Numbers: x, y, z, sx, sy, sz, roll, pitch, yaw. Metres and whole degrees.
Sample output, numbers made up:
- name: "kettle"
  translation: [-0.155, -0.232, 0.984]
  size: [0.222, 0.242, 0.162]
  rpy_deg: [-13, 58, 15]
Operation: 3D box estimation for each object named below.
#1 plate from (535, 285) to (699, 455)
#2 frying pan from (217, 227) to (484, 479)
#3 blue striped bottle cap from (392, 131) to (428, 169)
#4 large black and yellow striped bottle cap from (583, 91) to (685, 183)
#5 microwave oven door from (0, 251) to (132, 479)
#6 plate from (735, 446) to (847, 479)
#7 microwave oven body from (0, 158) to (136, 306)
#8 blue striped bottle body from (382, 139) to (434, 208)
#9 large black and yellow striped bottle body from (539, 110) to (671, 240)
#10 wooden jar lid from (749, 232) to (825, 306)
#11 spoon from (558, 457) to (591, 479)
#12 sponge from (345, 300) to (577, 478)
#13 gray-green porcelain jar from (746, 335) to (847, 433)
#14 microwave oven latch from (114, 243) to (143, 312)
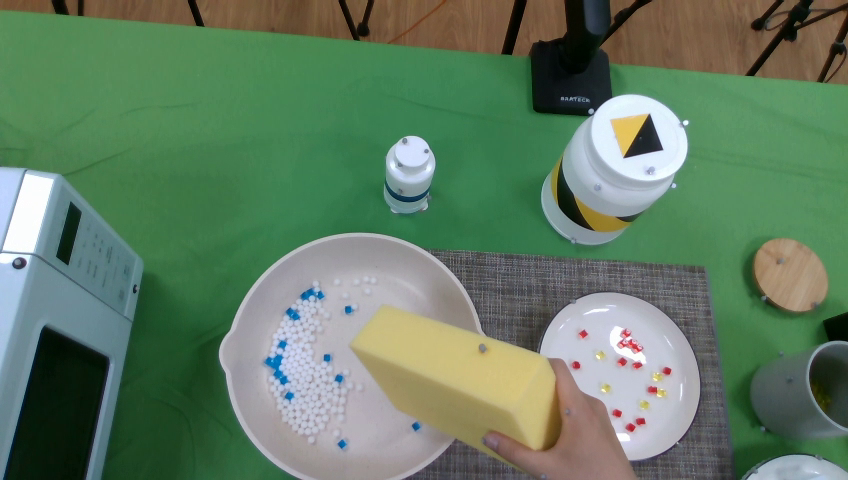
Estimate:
- name: "plate"
  translation: [0.238, 0.161, 0.762]
  size: [0.209, 0.038, 0.207]
  rpy_deg: [2, 70, -5]
- name: "frying pan"
  translation: [-0.079, 0.222, 0.669]
  size: [0.307, 0.103, 0.483]
  rpy_deg: [2, 62, -4]
- name: "blue striped bottle cap"
  translation: [-0.017, -0.109, 0.734]
  size: [0.044, 0.021, 0.044]
  rpy_deg: [2, 67, -4]
- name: "large black and yellow striped bottle cap"
  translation: [0.242, -0.120, 0.699]
  size: [0.115, 0.019, 0.114]
  rpy_deg: [2, 68, -5]
- name: "microwave oven door"
  translation: [-0.356, 0.213, 0.549]
  size: [0.039, 0.245, 0.353]
  rpy_deg: [4, 69, -5]
- name: "plate"
  translation: [0.454, 0.354, 0.721]
  size: [0.208, 0.039, 0.206]
  rpy_deg: [2, 70, -6]
- name: "microwave oven body"
  translation: [-0.500, 0.165, 0.555]
  size: [0.326, 0.261, 0.438]
  rpy_deg: [4, 70, -5]
- name: "blue striped bottle body"
  translation: [-0.022, -0.092, 0.783]
  size: [0.063, 0.121, 0.062]
  rpy_deg: [2, 70, -6]
- name: "large black and yellow striped bottle body"
  translation: [0.234, -0.090, 0.779]
  size: [0.131, 0.185, 0.130]
  rpy_deg: [2, 69, -5]
- name: "wooden jar lid"
  translation: [0.506, 0.042, 0.850]
  size: [0.108, 0.021, 0.107]
  rpy_deg: [2, 71, -5]
- name: "spoon"
  translation: [0.229, 0.331, 0.709]
  size: [0.193, 0.022, 0.041]
  rpy_deg: [43, 54, 8]
- name: "sponge"
  translation: [0.032, 0.139, 0.592]
  size: [0.205, 0.119, 0.060]
  rpy_deg: [12, 52, 42]
- name: "gray-green porcelain jar"
  translation: [0.470, 0.180, 0.739]
  size: [0.106, 0.127, 0.105]
  rpy_deg: [2, 69, -6]
- name: "microwave oven latch"
  translation: [-0.355, 0.044, 0.719]
  size: [0.030, 0.029, 0.078]
  rpy_deg: [5, 70, -5]
